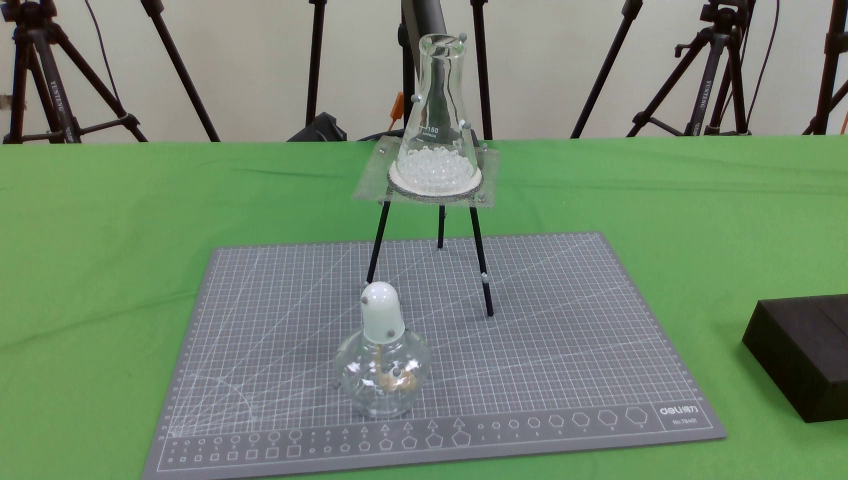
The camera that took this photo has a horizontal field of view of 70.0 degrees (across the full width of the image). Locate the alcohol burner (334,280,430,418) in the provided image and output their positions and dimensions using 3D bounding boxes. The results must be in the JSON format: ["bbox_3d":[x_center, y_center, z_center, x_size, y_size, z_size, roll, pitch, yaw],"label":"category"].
[{"bbox_3d":[-0.033,0.082,0.477,0.078,0.120,0.077,1,33,0],"label":"alcohol burner"}]

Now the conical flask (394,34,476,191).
[{"bbox_3d":[0.012,-0.109,0.518,0.075,0.123,0.074,2,35,-1],"label":"conical flask"}]

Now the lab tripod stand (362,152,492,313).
[{"bbox_3d":[0.011,-0.008,0.592,0.148,0.132,0.147,3,34,-2],"label":"lab tripod stand"}]

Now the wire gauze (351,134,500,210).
[{"bbox_3d":[0.007,-0.062,0.555,0.121,0.011,0.124,6,37,6],"label":"wire gauze"}]

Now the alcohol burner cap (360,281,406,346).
[{"bbox_3d":[-0.032,0.053,0.455,0.034,0.048,0.033,-4,38,3],"label":"alcohol burner cap"}]
